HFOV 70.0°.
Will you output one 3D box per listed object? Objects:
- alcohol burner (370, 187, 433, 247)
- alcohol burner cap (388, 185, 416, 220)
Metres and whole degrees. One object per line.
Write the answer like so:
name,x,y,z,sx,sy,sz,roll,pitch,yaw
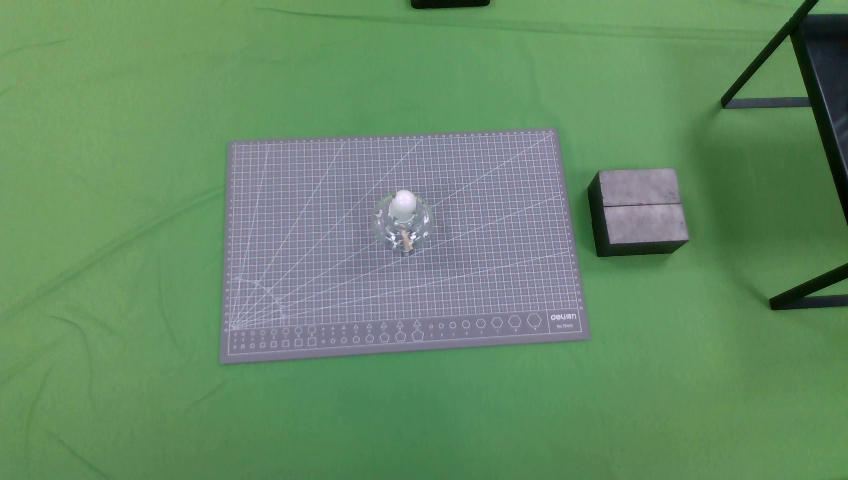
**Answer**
alcohol burner,-0.026,-0.035,0.732,0.078,0.119,0.077,2,71,-4
alcohol burner cap,-0.024,-0.045,0.699,0.034,0.048,0.033,2,74,-5
